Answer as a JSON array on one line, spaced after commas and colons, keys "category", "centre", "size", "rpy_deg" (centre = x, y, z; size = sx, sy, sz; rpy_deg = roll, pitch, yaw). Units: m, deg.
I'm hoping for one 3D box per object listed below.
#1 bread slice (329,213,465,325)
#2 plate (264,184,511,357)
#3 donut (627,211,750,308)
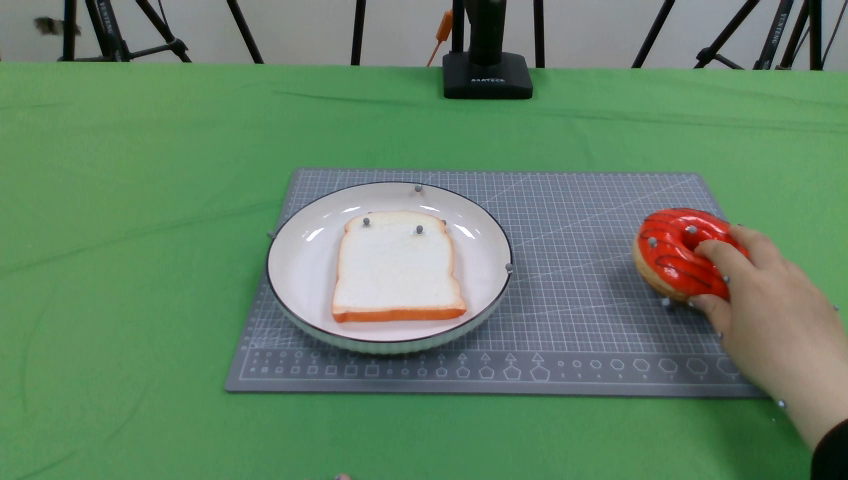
[{"category": "bread slice", "centre": [-0.028, 0.023, 0.530], "size": [0.107, 0.018, 0.133], "rpy_deg": [-3, 40, -7]}, {"category": "plate", "centre": [-0.030, 0.025, 0.525], "size": [0.209, 0.038, 0.207], "rpy_deg": [1, 40, -1]}, {"category": "donut", "centre": [0.224, 0.016, 0.513], "size": [0.099, 0.048, 0.098], "rpy_deg": [3, 47, -2]}]
